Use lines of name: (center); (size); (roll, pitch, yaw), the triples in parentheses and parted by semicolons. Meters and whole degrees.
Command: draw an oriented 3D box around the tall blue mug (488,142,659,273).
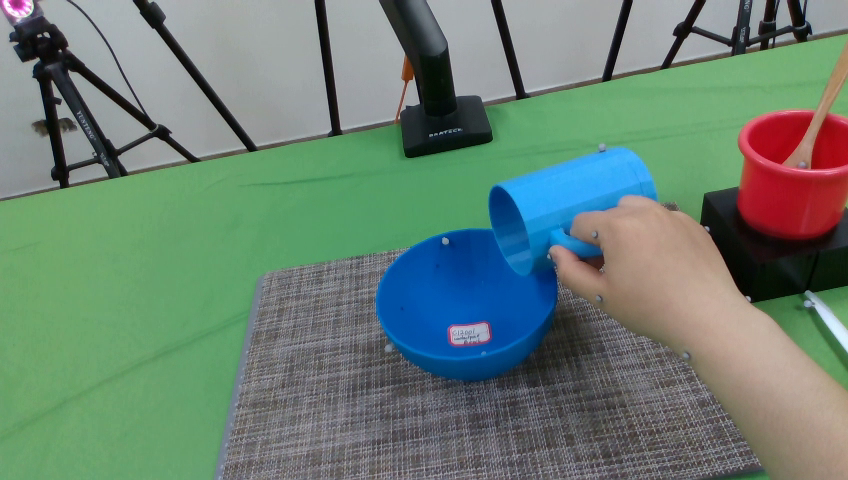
tall blue mug: (0.118, -0.028, 0.464); (0.108, 0.077, 0.107); (-18, -2, -12)

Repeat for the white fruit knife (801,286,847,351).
white fruit knife: (0.336, 0.104, 0.445); (0.027, 0.016, 0.205); (11, 36, -14)

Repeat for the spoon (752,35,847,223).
spoon: (0.331, -0.103, 0.508); (0.041, 0.022, 0.194); (28, 99, 40)

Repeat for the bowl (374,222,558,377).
bowl: (0.039, 0.063, 0.516); (0.151, 0.077, 0.150); (-7, 40, 7)
